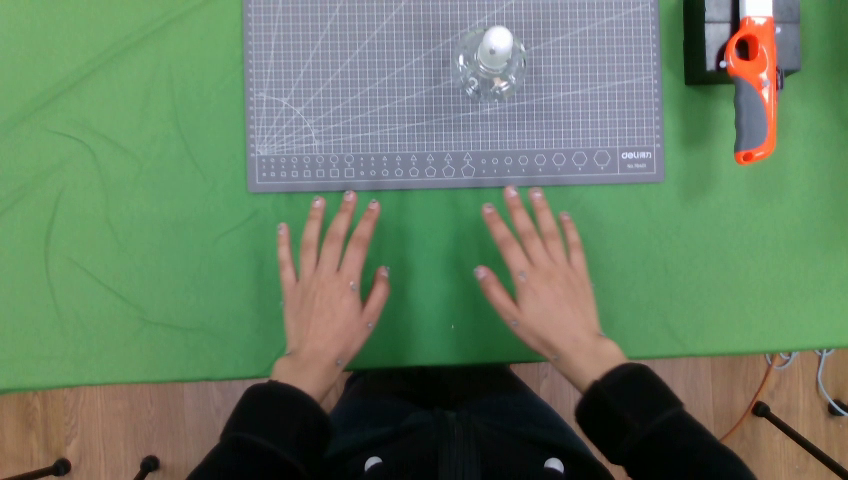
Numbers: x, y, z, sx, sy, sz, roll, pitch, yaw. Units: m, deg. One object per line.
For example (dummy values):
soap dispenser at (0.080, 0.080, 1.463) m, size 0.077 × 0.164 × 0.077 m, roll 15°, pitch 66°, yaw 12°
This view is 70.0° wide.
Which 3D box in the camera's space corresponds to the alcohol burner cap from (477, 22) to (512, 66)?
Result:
alcohol burner cap at (0.067, -0.185, 0.564) m, size 0.034 × 0.048 × 0.034 m, roll 0°, pitch 91°, yaw 2°

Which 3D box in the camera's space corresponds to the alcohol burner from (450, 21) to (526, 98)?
alcohol burner at (0.066, -0.184, 0.600) m, size 0.078 × 0.119 × 0.078 m, roll 0°, pitch 87°, yaw -3°

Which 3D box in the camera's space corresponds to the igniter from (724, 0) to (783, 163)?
igniter at (0.331, -0.214, 0.609) m, size 0.057 × 0.025 × 0.276 m, roll 2°, pitch 87°, yaw 0°
